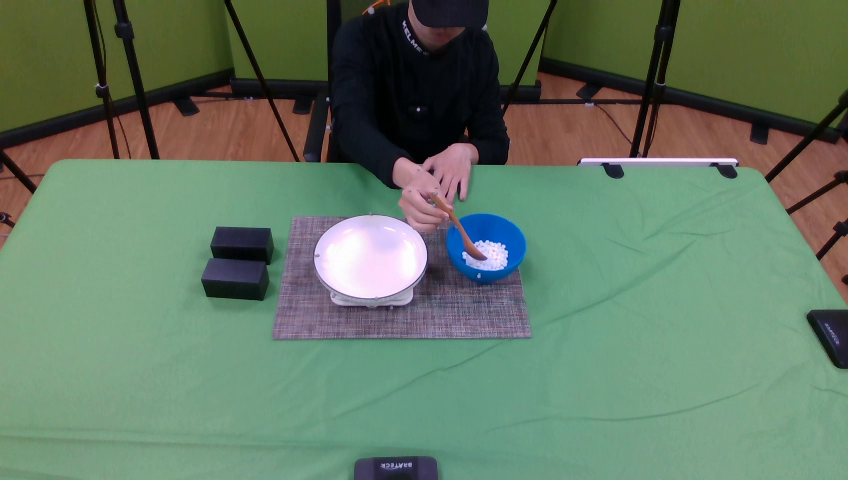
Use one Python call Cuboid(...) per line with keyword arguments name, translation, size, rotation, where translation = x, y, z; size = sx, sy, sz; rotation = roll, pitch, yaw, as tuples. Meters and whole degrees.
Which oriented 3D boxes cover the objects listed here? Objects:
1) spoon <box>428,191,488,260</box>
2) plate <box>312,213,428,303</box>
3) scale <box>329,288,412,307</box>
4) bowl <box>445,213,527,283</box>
Cuboid(name="spoon", translation=(0.059, -0.022, 1.057), size=(0.041, 0.195, 0.021), rotation=(13, 59, 47))
Cuboid(name="plate", translation=(-0.097, 0.036, 1.100), size=(0.209, 0.038, 0.208), rotation=(2, 46, -2))
Cuboid(name="scale", translation=(-0.098, 0.042, 1.139), size=(0.149, 0.032, 0.199), rotation=(1, 46, -4))
Cuboid(name="bowl", translation=(0.112, 0.027, 1.136), size=(0.151, 0.077, 0.150), rotation=(2, 46, -2))
